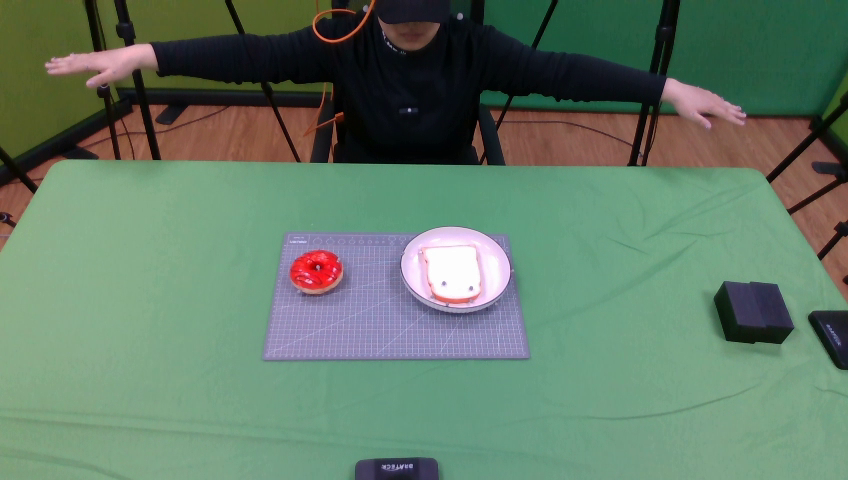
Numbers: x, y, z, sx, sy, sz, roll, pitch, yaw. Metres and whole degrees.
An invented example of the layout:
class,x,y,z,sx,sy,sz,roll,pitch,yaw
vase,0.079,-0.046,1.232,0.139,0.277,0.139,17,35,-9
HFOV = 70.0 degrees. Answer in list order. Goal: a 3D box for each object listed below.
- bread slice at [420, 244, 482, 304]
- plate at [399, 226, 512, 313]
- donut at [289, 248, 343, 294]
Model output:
class,x,y,z,sx,sy,sz,roll,pitch,yaw
bread slice,0.055,0.062,1.131,0.107,0.018,0.133,-6,47,-8
plate,0.057,0.057,1.134,0.209,0.038,0.208,2,46,-2
donut,-0.197,0.056,1.111,0.099,0.048,0.098,1,45,-1
